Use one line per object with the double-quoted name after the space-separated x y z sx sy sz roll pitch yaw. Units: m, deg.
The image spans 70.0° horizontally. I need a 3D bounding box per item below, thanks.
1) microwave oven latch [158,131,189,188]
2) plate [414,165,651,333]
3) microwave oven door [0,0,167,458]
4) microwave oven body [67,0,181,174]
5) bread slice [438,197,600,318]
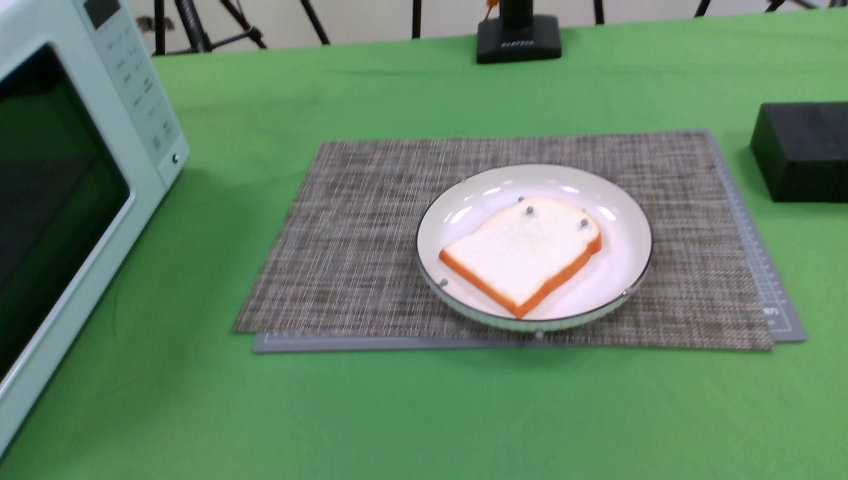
-0.301 -0.094 0.707 0.030 0.030 0.078 0 43 8 "microwave oven latch"
0.095 0.006 0.551 0.209 0.038 0.207 -5 42 5 "plate"
-0.334 -0.021 0.479 0.039 0.246 0.352 -2 42 8 "microwave oven door"
-0.475 -0.041 0.533 0.325 0.263 0.437 -1 43 8 "microwave oven body"
0.092 0.005 0.554 0.131 0.019 0.104 -34 48 -25 "bread slice"
